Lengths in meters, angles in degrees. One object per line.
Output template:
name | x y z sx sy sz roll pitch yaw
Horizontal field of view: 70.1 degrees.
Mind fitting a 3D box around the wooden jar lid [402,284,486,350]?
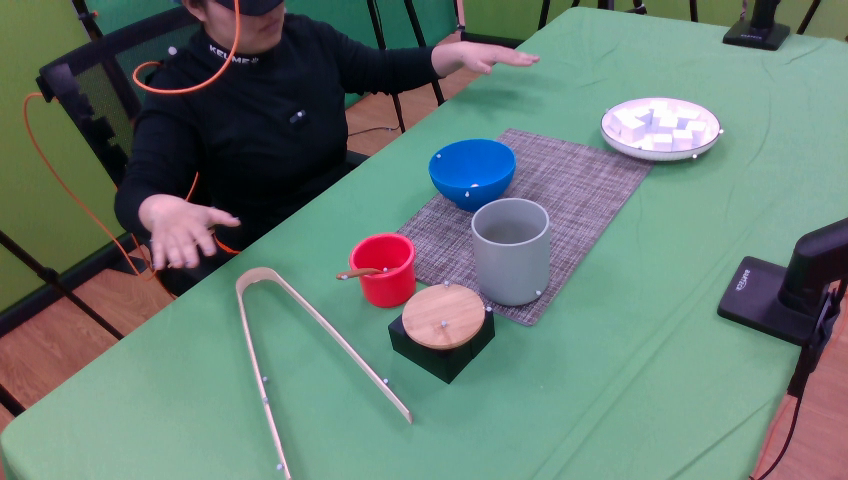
wooden jar lid | 0.026 0.101 0.786 0.108 0.021 0.108 -5 39 4

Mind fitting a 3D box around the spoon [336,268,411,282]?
spoon | -0.071 0.047 0.850 0.041 0.195 0.021 18 93 24

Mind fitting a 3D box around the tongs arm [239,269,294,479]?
tongs arm | -0.208 0.163 0.824 0.051 0.026 0.381 -21 40 -15

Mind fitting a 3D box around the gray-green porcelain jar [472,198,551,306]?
gray-green porcelain jar | 0.125 0.021 0.850 0.106 0.127 0.105 -6 40 5

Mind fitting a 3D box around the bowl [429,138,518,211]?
bowl | 0.087 -0.104 1.043 0.151 0.077 0.150 -5 40 5

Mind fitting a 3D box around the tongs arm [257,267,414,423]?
tongs arm | -0.136 0.133 0.853 0.028 0.028 0.384 -34 45 -23

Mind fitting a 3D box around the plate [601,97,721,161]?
plate | 0.436 -0.203 1.126 0.209 0.038 0.208 -5 39 4
